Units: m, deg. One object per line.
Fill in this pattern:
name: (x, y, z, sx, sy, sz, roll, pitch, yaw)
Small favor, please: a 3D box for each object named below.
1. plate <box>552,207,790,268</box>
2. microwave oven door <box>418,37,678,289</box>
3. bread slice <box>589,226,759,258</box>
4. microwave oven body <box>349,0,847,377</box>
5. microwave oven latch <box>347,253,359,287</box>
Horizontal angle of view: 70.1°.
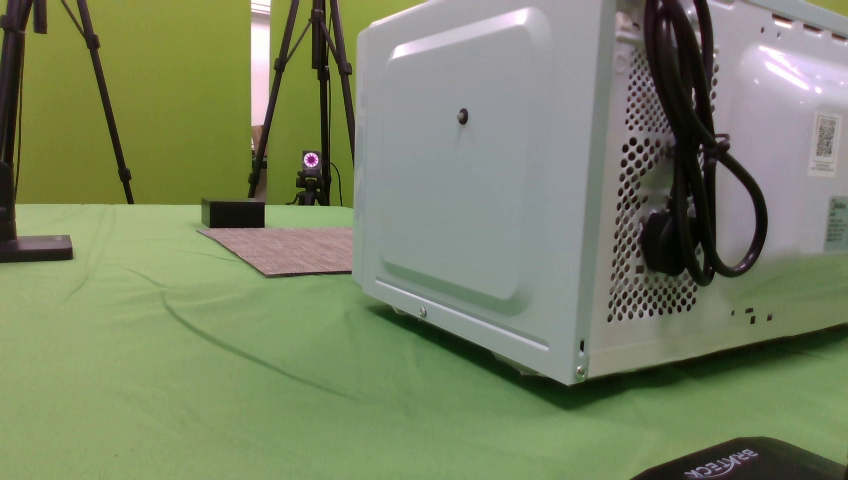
plate: (0.225, -0.005, 0.572, 0.209, 0.038, 0.209, 4, 7, 0)
microwave oven door: (0.158, -0.079, 0.684, 0.358, 0.243, 0.039, -2, 9, -32)
bread slice: (0.226, 0.000, 0.568, 0.132, 0.019, 0.104, 3, 6, -23)
microwave oven body: (0.199, -0.053, 0.539, 0.444, 0.260, 0.324, -1, 7, -32)
microwave oven latch: (-0.034, 0.028, 0.580, 0.079, 0.029, 0.030, -1, 7, -30)
